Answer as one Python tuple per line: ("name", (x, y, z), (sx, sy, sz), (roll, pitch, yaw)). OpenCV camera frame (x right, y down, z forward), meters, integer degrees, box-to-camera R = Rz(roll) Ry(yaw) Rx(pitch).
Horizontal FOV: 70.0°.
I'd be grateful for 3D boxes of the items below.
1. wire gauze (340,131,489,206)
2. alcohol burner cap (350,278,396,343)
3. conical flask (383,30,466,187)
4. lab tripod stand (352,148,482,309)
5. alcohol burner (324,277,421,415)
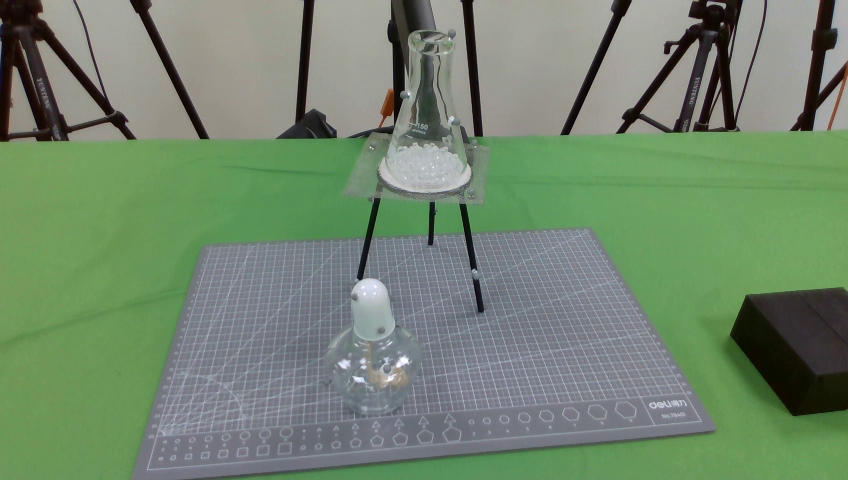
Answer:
("wire gauze", (-0.003, -0.066, 0.555), (0.121, 0.011, 0.124), (6, 37, 5))
("alcohol burner cap", (-0.040, 0.050, 0.456), (0.034, 0.048, 0.033), (-3, 38, 3))
("conical flask", (0.003, -0.113, 0.518), (0.075, 0.123, 0.074), (2, 35, -1))
("lab tripod stand", (0.001, -0.011, 0.593), (0.148, 0.132, 0.147), (3, 34, -2))
("alcohol burner", (-0.041, 0.079, 0.477), (0.078, 0.120, 0.077), (1, 33, 0))
